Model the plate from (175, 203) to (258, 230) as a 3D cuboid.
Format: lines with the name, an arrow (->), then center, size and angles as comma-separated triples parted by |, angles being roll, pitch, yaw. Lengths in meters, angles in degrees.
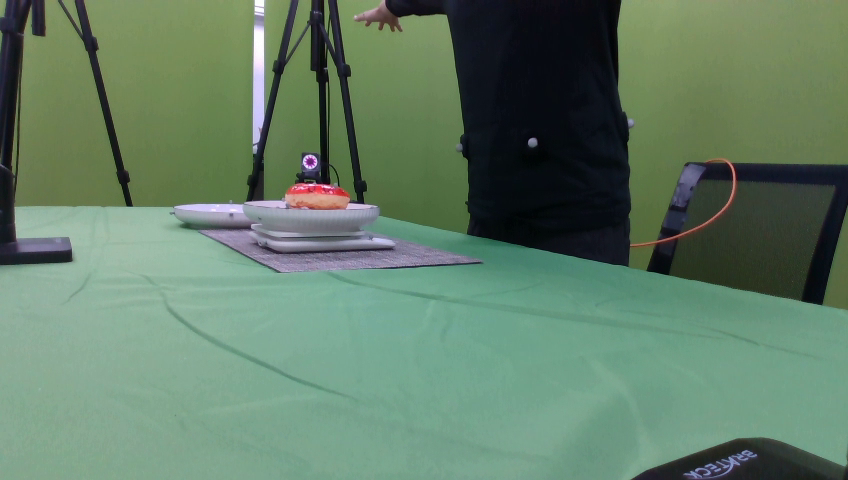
plate -> -0.381, -0.047, 1.199 | 0.208, 0.039, 0.207 | 3, 7, 0

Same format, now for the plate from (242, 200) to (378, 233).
plate -> -0.175, -0.038, 0.939 | 0.209, 0.038, 0.209 | 3, 7, 0

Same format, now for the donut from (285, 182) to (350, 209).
donut -> -0.165, -0.065, 0.938 | 0.099, 0.048, 0.099 | 3, 3, 0

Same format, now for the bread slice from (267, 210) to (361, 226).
bread slice -> -0.174, -0.035, 0.934 | 0.132, 0.019, 0.104 | -1, 6, -28

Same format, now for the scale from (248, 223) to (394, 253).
scale -> -0.162, -0.006, 0.954 | 0.202, 0.031, 0.148 | -2, 8, -32
